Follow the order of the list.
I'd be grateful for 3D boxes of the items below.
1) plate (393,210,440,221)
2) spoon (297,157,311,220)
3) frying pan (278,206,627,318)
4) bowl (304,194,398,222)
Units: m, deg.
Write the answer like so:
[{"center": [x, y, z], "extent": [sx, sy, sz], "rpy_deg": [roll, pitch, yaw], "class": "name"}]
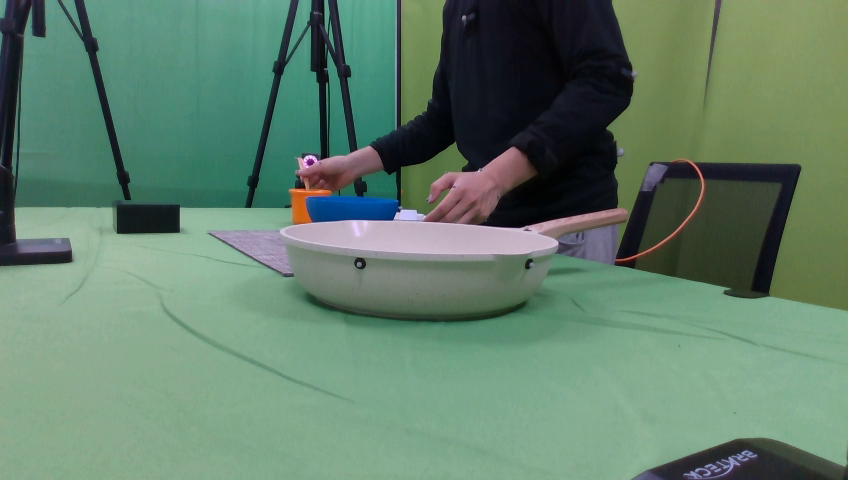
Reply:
[{"center": [-0.073, -0.035, 1.196], "extent": [0.208, 0.039, 0.207], "rpy_deg": [4, 6, 0], "class": "plate"}, {"center": [-0.259, -0.115, 1.337], "extent": [0.042, 0.193, 0.021], "rpy_deg": [-1, -34, -24], "class": "spoon"}, {"center": [0.079, 0.002, 0.705], "extent": [0.490, 0.102, 0.305], "rpy_deg": [-12, 15, -33], "class": "frying pan"}, {"center": [-0.118, -0.030, 0.974], "extent": [0.151, 0.077, 0.151], "rpy_deg": [3, 7, 0], "class": "bowl"}]
